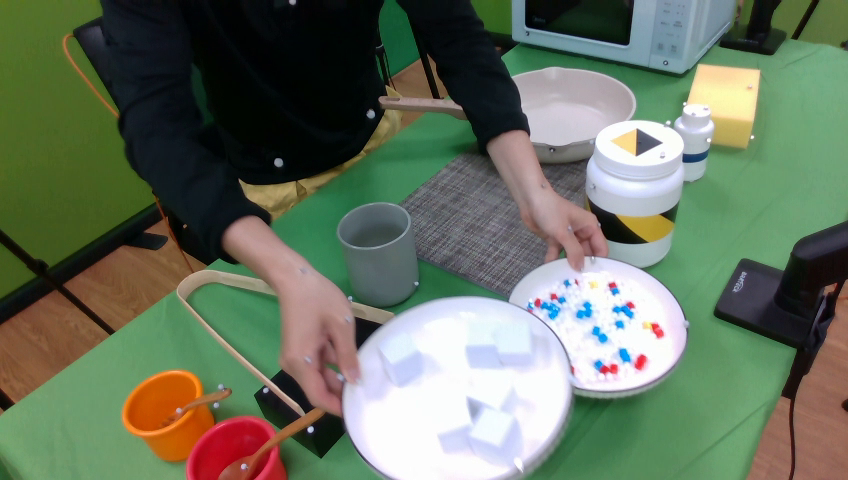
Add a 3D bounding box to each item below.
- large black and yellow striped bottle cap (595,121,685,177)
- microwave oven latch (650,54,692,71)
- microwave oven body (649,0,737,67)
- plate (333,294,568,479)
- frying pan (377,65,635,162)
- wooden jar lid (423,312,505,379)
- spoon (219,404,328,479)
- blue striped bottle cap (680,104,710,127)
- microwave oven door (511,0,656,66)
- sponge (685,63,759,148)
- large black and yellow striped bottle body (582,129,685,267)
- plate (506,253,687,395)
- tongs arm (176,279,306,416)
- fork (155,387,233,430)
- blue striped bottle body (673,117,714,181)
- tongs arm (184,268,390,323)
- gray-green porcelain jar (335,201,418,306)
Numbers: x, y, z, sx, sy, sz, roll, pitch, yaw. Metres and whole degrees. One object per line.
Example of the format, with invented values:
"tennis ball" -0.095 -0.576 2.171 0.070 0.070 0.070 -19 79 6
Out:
"large black and yellow striped bottle cap" 0.292 -0.126 0.821 0.115 0.019 0.114 -5 40 4
"microwave oven latch" 0.531 -0.386 1.301 0.078 0.029 0.030 25 51 33
"microwave oven body" 0.475 -0.602 1.411 0.438 0.261 0.327 23 50 32
"plate" 0.024 0.133 0.544 0.207 0.039 0.206 -8 38 7
"frying pan" 0.150 -0.255 1.177 0.488 0.103 0.306 7 41 4
"wooden jar lid" 0.053 0.142 0.801 0.108 0.021 0.108 -5 40 4
"spoon" -0.164 0.222 0.643 0.022 0.193 0.041 36 31 -19
"blue striped bottle cap" 0.443 -0.205 0.989 0.044 0.021 0.044 -1 41 1
"microwave oven door" 0.350 -0.539 1.348 0.353 0.245 0.039 24 50 31
"sponge" 0.569 -0.263 1.164 0.117 0.061 0.207 12 45 22
"large black and yellow striped bottle body" 0.301 -0.064 0.877 0.131 0.185 0.130 -4 41 4
"plate" 0.201 0.100 0.723 0.209 0.038 0.208 -3 43 4
"tongs arm" -0.255 0.131 0.800 0.028 0.028 0.384 -40 40 -24
"fork" -0.264 0.191 0.687 0.018 0.206 0.028 52 44 -5
"blue striped bottle body" 0.449 -0.165 1.022 0.063 0.121 0.063 -5 41 4
"tongs arm" -0.202 0.084 0.848 0.382 0.027 0.051 11 44 35
"gray-green porcelain jar" -0.064 0.024 0.872 0.106 0.127 0.105 -4 41 4
